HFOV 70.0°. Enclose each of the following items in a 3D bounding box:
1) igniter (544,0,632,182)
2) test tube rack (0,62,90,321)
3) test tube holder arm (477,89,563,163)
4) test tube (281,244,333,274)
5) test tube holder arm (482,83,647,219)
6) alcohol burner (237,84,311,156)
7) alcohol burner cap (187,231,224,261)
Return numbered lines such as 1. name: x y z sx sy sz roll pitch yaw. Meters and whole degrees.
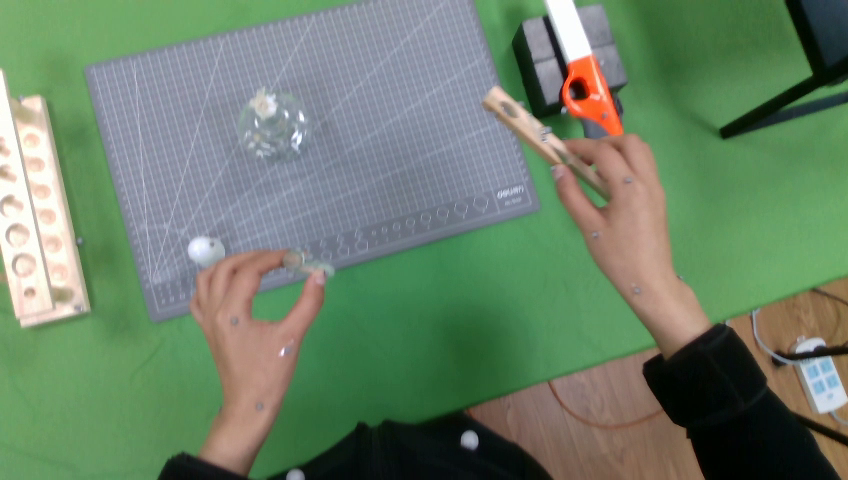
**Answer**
1. igniter: 0.174 -0.195 0.672 0.057 0.025 0.276 -18 85 4
2. test tube rack: -0.413 -0.044 0.608 0.067 0.085 0.241 -14 86 -8
3. test tube holder arm: 0.082 -0.093 0.502 0.088 0.015 0.010 35 87 -12
4. test tube: -0.095 0.018 0.509 0.017 0.150 0.017 0 84 1
5. test tube holder arm: 0.121 -0.073 0.512 0.179 0.015 0.013 34 87 -12
6. alcohol burner: -0.158 -0.130 0.629 0.078 0.119 0.077 1 85 -6
7. alcohol burner cap: -0.233 0.005 0.642 0.034 0.048 0.034 1 83 -7
